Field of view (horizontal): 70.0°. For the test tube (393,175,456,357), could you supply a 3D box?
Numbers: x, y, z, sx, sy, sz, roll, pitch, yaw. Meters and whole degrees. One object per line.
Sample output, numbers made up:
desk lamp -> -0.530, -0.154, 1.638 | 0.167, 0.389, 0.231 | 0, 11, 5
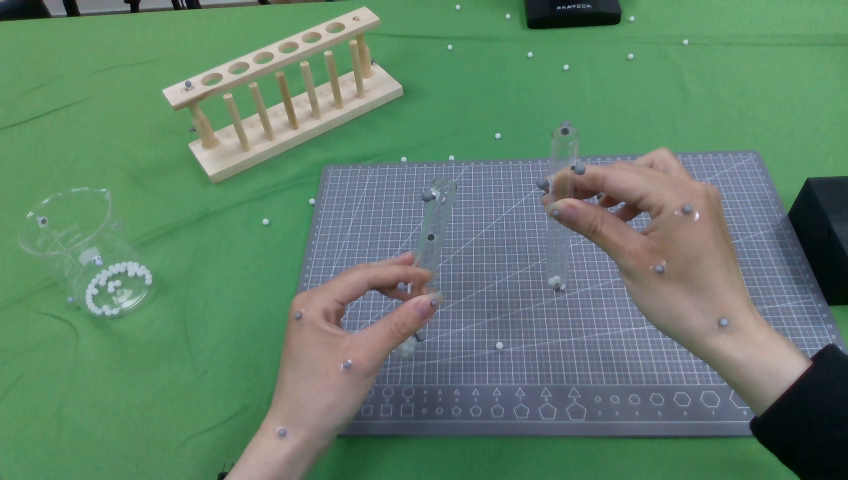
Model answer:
test tube -> -0.002, 0.024, 0.396 | 0.017, 0.151, 0.017 | 9, 37, -6

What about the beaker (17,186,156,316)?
beaker -> -0.286, 0.011, 0.530 | 0.073, 0.101, 0.083 | 21, 55, 21

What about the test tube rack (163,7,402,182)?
test tube rack -> -0.147, -0.164, 0.671 | 0.242, 0.086, 0.066 | -30, 54, -18

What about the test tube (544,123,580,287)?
test tube -> 0.088, -0.014, 0.393 | 0.017, 0.152, 0.017 | -4, 52, 6
